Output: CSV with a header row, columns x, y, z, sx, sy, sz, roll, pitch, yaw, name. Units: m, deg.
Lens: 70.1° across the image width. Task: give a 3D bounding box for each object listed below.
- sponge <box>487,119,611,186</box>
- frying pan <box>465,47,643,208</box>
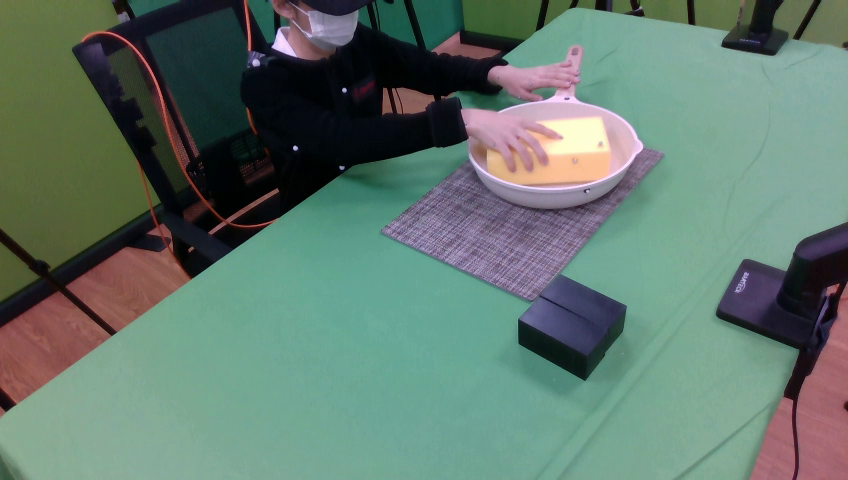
x,y,z,sx,sy,sz,roll,pitch,yaw,name
0.216,-0.154,1.070,0.206,0.061,0.117,-3,40,7,sponge
0.255,-0.228,1.136,0.305,0.103,0.487,9,51,17,frying pan
